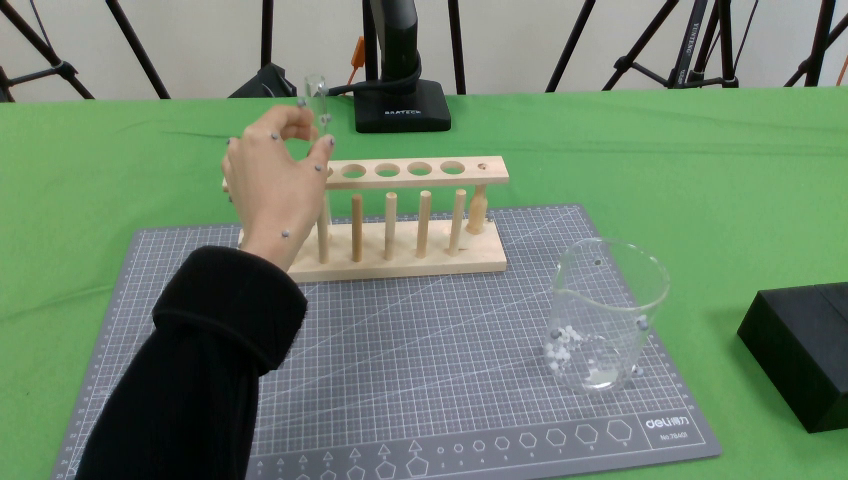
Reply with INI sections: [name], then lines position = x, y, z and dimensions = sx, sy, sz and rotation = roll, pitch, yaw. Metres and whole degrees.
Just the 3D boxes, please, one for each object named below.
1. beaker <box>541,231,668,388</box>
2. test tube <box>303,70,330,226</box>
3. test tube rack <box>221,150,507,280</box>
[beaker]
position = 0.125, 0.055, 0.449
dimensions = 0.084, 0.101, 0.073
rotation = -9, 41, -12
[test tube]
position = -0.090, -0.071, 0.512
dimensions = 0.017, 0.151, 0.017
rotation = 3, 41, -2
[test tube rack]
position = -0.049, -0.024, 0.540
dimensions = 0.243, 0.086, 0.066
rotation = -3, 41, -7
